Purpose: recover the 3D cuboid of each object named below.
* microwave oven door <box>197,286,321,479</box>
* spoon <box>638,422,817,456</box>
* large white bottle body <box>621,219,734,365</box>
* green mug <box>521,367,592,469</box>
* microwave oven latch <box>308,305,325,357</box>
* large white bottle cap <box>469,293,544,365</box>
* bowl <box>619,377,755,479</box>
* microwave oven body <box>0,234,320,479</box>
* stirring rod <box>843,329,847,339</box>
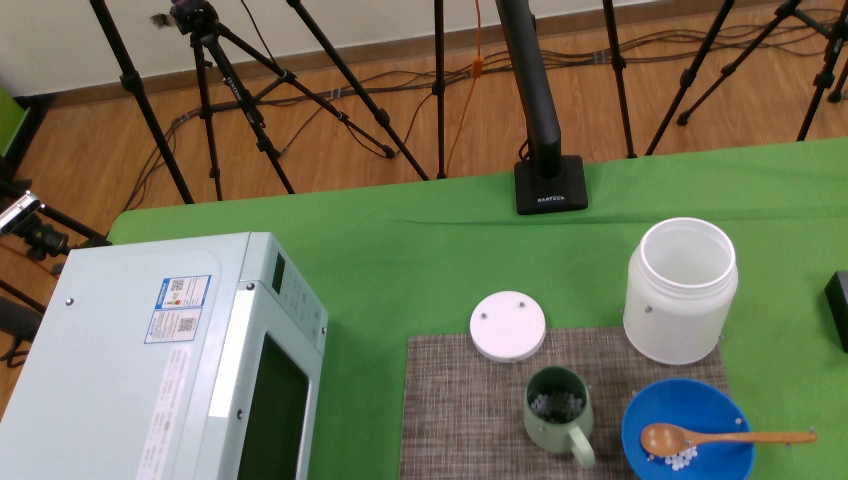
[{"bbox_3d":[-0.201,0.268,0.751,0.039,0.246,0.352,-6,55,10],"label":"microwave oven door"},{"bbox_3d":[0.355,0.236,0.721,0.193,0.022,0.041,-13,54,34],"label":"spoon"},{"bbox_3d":[0.334,0.070,0.809,0.130,0.186,0.129,-7,51,9],"label":"large white bottle body"},{"bbox_3d":[0.179,0.235,0.784,0.092,0.106,0.124,-26,54,-5],"label":"green mug"},{"bbox_3d":[-0.174,0.144,0.955,0.030,0.030,0.078,-5,56,10],"label":"microwave oven latch"},{"bbox_3d":[0.125,0.134,0.920,0.114,0.018,0.113,-6,54,9],"label":"large white bottle cap"},{"bbox_3d":[0.318,0.255,0.752,0.151,0.077,0.150,-7,55,10],"label":"bowl"},{"bbox_3d":[-0.342,0.250,0.803,0.325,0.263,0.437,-5,56,9],"label":"microwave oven body"},{"bbox_3d":[0.628,0.097,0.776,0.176,0.006,0.014,-17,61,4],"label":"stirring rod"}]
